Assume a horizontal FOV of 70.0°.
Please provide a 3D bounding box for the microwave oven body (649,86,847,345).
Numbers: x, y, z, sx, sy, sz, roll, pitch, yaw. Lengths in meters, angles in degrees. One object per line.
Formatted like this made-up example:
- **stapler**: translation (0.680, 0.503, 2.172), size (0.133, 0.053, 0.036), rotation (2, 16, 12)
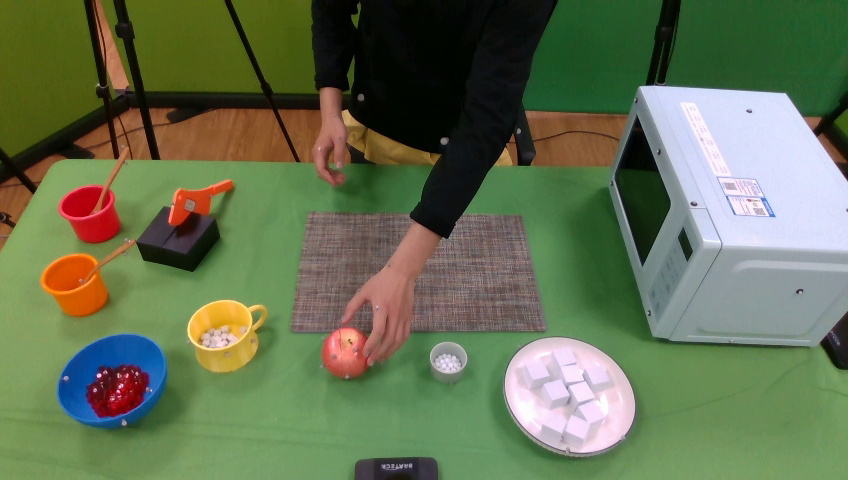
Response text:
- **microwave oven body**: translation (0.568, -0.053, 1.118), size (0.326, 0.261, 0.439), rotation (2, 45, -1)

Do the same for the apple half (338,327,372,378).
- **apple half**: translation (-0.112, 0.183, 0.980), size (0.053, 0.075, 0.080), rotation (-2, 42, -13)

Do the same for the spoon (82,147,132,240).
- **spoon**: translation (-0.602, -0.089, 1.156), size (0.041, 0.022, 0.193), rotation (27, 95, 19)

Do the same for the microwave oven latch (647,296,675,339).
- **microwave oven latch**: translation (0.413, 0.134, 1.061), size (0.030, 0.029, 0.078), rotation (5, 45, 2)

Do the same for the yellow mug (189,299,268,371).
- **yellow mug**: translation (-0.316, 0.148, 1.002), size (0.131, 0.064, 0.099), rotation (-33, 56, -31)

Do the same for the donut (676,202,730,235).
- **donut**: translation (0.538, -0.043, 1.170), size (0.099, 0.048, 0.098), rotation (5, 26, -2)

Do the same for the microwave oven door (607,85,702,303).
- **microwave oven door**: translation (0.423, -0.094, 1.140), size (0.039, 0.245, 0.353), rotation (2, 46, -1)

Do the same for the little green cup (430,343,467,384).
- **little green cup**: translation (0.039, 0.203, 0.993), size (0.061, 0.039, 0.061), rotation (2, 46, -2)

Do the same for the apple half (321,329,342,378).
- **apple half**: translation (-0.149, 0.186, 0.972), size (0.033, 0.081, 0.080), rotation (-2, 46, -12)

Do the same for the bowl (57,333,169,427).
- **bowl**: translation (-0.456, 0.223, 0.912), size (0.151, 0.077, 0.150), rotation (3, 45, -2)

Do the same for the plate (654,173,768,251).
- **plate**: translation (0.556, -0.050, 1.187), size (0.209, 0.038, 0.208), rotation (1, 46, -1)

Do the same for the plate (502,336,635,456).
- **plate**: translation (0.225, 0.248, 0.963), size (0.208, 0.039, 0.206), rotation (2, 46, -2)

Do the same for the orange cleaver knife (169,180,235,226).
- **orange cleaver knife**: translation (-0.436, -0.076, 1.199), size (0.012, 0.077, 0.211), rotation (17, 17, 9)

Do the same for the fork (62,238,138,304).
- **fork**: translation (-0.546, 0.053, 1.018), size (0.207, 0.019, 0.028), rotation (-36, 41, 23)
